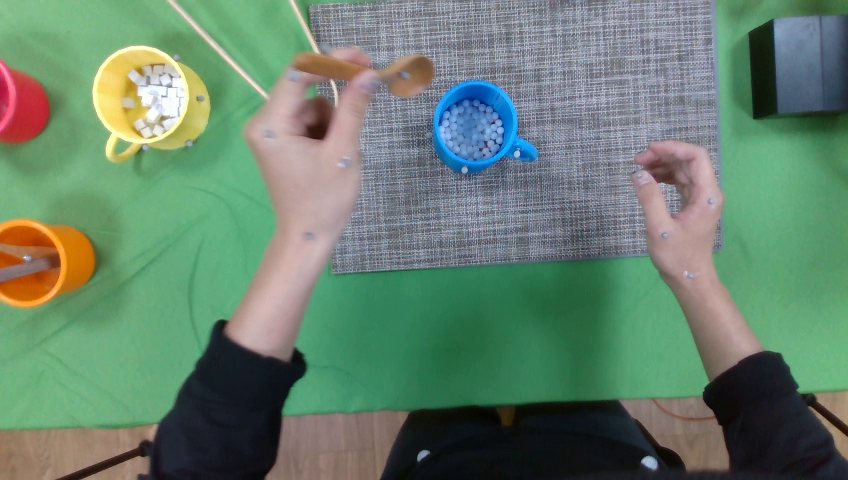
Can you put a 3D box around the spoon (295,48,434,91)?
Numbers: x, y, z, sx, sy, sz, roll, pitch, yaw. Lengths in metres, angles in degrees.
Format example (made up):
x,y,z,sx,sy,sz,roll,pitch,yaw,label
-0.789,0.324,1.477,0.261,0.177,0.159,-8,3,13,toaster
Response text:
x,y,z,sx,sy,sz,roll,pitch,yaw,label
-0.035,-0.124,0.432,0.021,0.193,0.041,47,113,3,spoon

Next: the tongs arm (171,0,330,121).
x,y,z,sx,sy,sz,roll,pitch,yaw,label
-0.250,-0.267,0.638,0.051,0.026,0.386,-43,101,-2,tongs arm

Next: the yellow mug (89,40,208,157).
x,y,z,sx,sy,sz,roll,pitch,yaw,label
-0.302,-0.144,0.652,0.100,0.064,0.131,35,94,-3,yellow mug

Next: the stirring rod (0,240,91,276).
x,y,z,sx,sy,sz,roll,pitch,yaw,label
-0.440,0.030,0.627,0.176,0.006,0.014,-22,90,-41,stirring rod

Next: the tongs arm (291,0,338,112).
x,y,z,sx,sy,sz,roll,pitch,yaw,label
-0.182,-0.318,0.639,0.028,0.027,0.389,-29,101,-8,tongs arm

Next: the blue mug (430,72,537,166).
x,y,z,sx,sy,sz,roll,pitch,yaw,label
0.063,-0.116,0.635,0.116,0.105,0.082,22,93,-2,blue mug

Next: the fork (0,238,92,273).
x,y,z,sx,sy,sz,roll,pitch,yaw,label
-0.450,-0.003,0.618,0.209,0.018,0.028,25,88,-45,fork
